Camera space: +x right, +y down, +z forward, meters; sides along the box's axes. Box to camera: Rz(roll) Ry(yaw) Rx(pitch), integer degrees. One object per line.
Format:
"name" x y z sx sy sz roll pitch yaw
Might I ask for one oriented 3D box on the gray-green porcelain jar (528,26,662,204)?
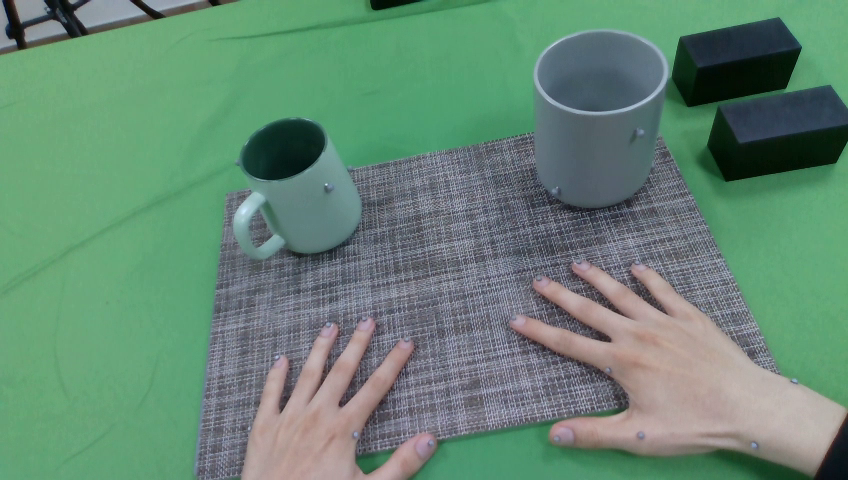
"gray-green porcelain jar" 0.146 -0.102 0.533 0.106 0.128 0.105 -6 54 8

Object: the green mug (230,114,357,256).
"green mug" -0.125 -0.039 0.554 0.092 0.106 0.125 24 62 25
